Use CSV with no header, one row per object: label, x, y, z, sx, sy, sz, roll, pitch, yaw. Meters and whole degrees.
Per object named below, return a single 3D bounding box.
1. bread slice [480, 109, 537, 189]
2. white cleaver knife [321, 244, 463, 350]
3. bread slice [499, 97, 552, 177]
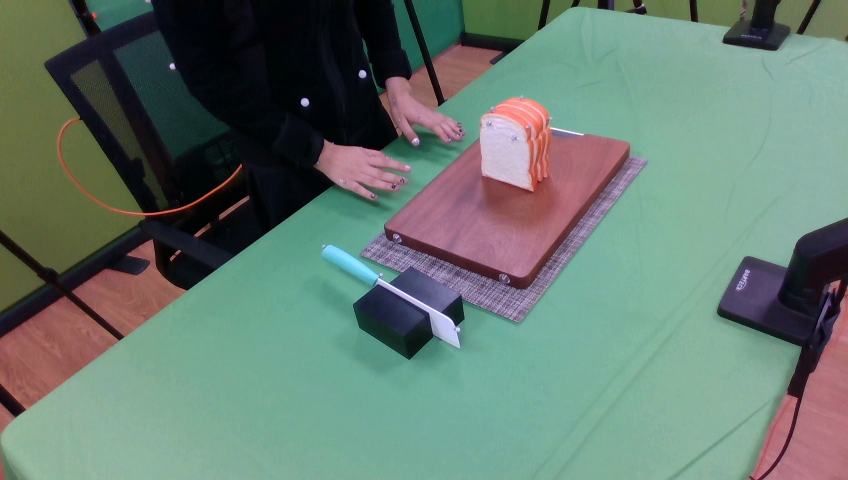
bread slice,0.138,-0.154,1.008,0.106,0.135,0.018,19,49,35
white cleaver knife,-0.056,0.079,0.868,0.284,0.066,0.021,28,47,37
bread slice,0.173,-0.179,1.034,0.104,0.132,0.019,24,46,31
